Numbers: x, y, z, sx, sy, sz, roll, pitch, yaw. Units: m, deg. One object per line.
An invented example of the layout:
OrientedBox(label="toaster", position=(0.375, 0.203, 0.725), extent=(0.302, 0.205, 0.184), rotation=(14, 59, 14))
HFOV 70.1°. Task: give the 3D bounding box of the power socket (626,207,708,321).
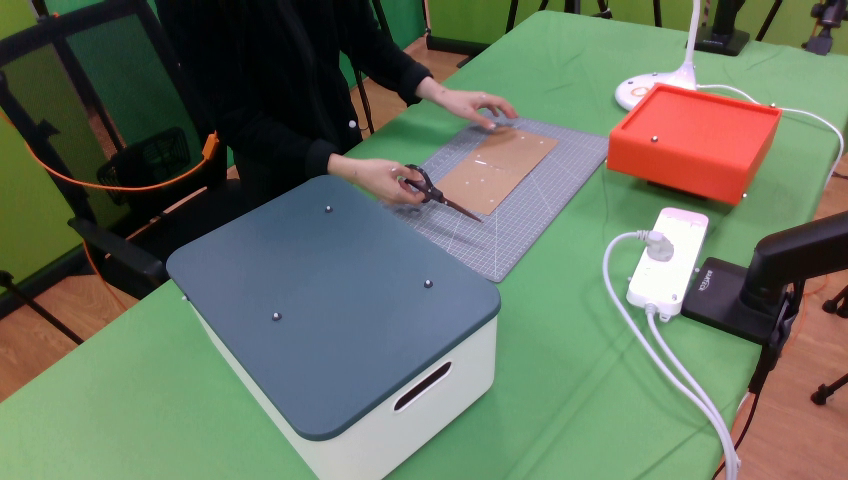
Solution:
OrientedBox(label="power socket", position=(0.360, 0.026, 0.886), extent=(0.072, 0.033, 0.227), rotation=(16, 46, 26))

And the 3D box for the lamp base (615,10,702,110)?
OrientedBox(label="lamp base", position=(0.484, -0.364, 1.211), extent=(0.180, 0.181, 0.159), rotation=(-15, 41, -14))

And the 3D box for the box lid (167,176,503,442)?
OrientedBox(label="box lid", position=(-0.119, 0.047, 0.714), extent=(0.264, 0.015, 0.368), rotation=(-32, 47, -27))

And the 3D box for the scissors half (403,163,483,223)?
OrientedBox(label="scissors half", position=(0.029, -0.076, 0.990), extent=(0.174, 0.040, 0.013), rotation=(38, 64, 21))

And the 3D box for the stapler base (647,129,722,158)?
OrientedBox(label="stapler base", position=(0.439, -0.167, 1.023), extent=(0.131, 0.024, 0.041), rotation=(-16, 25, -15))

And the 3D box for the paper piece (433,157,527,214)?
OrientedBox(label="paper piece", position=(0.094, -0.102, 1.089), extent=(0.134, 0.004, 0.136), rotation=(22, 48, 30))

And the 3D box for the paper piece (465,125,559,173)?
OrientedBox(label="paper piece", position=(0.172, -0.177, 1.168), extent=(0.137, 0.009, 0.136), rotation=(21, 45, 30))

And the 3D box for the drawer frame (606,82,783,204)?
OrientedBox(label="drawer frame", position=(0.441, -0.167, 0.995), extent=(0.212, 0.083, 0.202), rotation=(23, 48, 30))

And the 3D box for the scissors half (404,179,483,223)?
OrientedBox(label="scissors half", position=(0.031, -0.062, 1.005), extent=(0.173, 0.040, 0.013), rotation=(28, 54, 37))

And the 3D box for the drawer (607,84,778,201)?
OrientedBox(label="drawer", position=(0.438, -0.167, 0.996), extent=(0.210, 0.073, 0.195), rotation=(23, 48, 30))

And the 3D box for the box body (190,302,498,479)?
OrientedBox(label="box body", position=(-0.110, 0.103, 0.761), extent=(0.255, 0.161, 0.361), rotation=(-33, 46, -27))

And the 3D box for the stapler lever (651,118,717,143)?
OrientedBox(label="stapler lever", position=(0.436, -0.192, 1.014), extent=(0.118, 0.040, 0.026), rotation=(-15, 25, -16))

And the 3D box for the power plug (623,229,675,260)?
OrientedBox(label="power plug", position=(0.327, 0.007, 0.878), extent=(0.072, 0.053, 0.035), rotation=(25, 51, 33))
